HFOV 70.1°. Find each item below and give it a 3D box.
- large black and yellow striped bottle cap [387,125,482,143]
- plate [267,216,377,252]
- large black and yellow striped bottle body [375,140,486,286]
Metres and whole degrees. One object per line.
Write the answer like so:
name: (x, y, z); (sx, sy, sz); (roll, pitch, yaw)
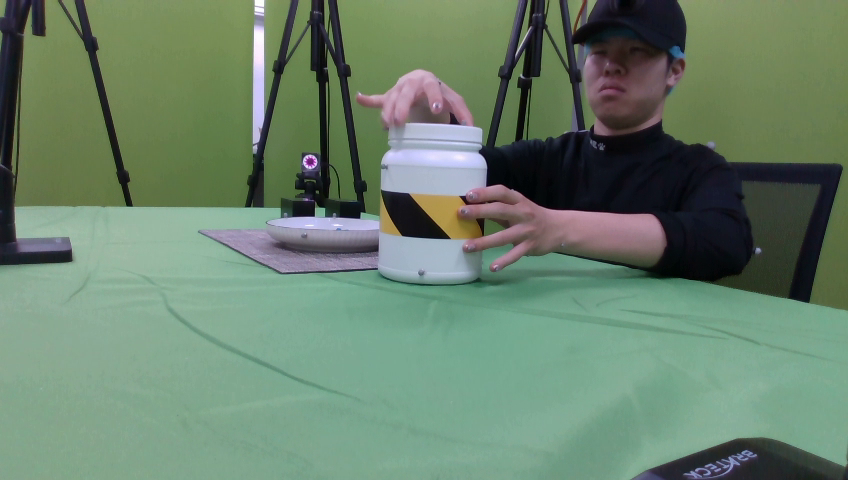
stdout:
large black and yellow striped bottle cap: (0.013, -0.127, 0.732); (0.115, 0.019, 0.115); (1, 6, 0)
plate: (-0.145, -0.010, 0.967); (0.208, 0.039, 0.207); (2, 7, 0)
large black and yellow striped bottle body: (0.009, -0.044, 0.744); (0.131, 0.184, 0.130); (3, 7, 0)
